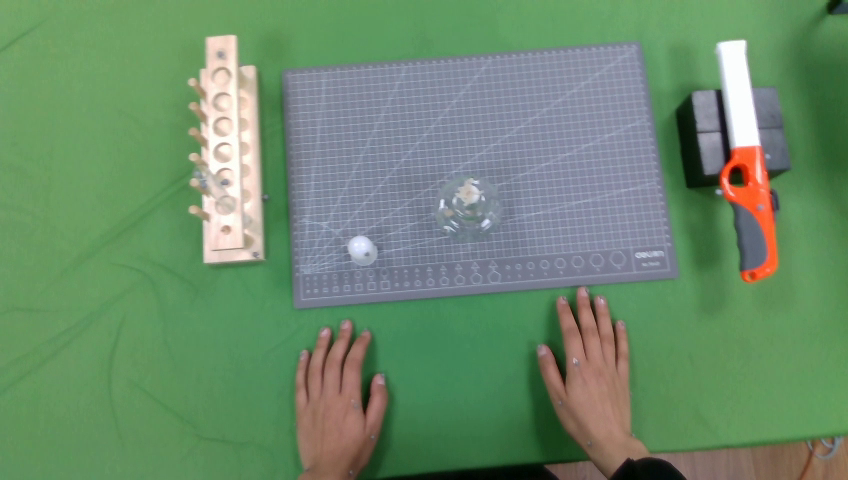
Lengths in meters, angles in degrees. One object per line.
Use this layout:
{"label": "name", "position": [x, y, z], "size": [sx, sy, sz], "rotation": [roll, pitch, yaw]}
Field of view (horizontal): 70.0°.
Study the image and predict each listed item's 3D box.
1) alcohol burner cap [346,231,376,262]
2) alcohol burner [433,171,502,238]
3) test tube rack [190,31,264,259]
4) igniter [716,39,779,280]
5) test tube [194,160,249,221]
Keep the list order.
{"label": "alcohol burner cap", "position": [-0.073, 0.005, 0.694], "size": [0.034, 0.048, 0.033], "rotation": [0, 79, 1]}
{"label": "alcohol burner", "position": [0.049, -0.043, 0.666], "size": [0.078, 0.119, 0.077], "rotation": [0, 81, 2]}
{"label": "test tube rack", "position": [-0.230, -0.105, 0.694], "size": [0.067, 0.085, 0.241], "rotation": [-4, 80, 0]}
{"label": "igniter", "position": [0.357, -0.093, 0.674], "size": [0.057, 0.025, 0.275], "rotation": [-3, 79, 9]}
{"label": "test tube", "position": [-0.208, -0.048, 0.634], "size": [0.017, 0.151, 0.017], "rotation": [0, 74, -1]}
